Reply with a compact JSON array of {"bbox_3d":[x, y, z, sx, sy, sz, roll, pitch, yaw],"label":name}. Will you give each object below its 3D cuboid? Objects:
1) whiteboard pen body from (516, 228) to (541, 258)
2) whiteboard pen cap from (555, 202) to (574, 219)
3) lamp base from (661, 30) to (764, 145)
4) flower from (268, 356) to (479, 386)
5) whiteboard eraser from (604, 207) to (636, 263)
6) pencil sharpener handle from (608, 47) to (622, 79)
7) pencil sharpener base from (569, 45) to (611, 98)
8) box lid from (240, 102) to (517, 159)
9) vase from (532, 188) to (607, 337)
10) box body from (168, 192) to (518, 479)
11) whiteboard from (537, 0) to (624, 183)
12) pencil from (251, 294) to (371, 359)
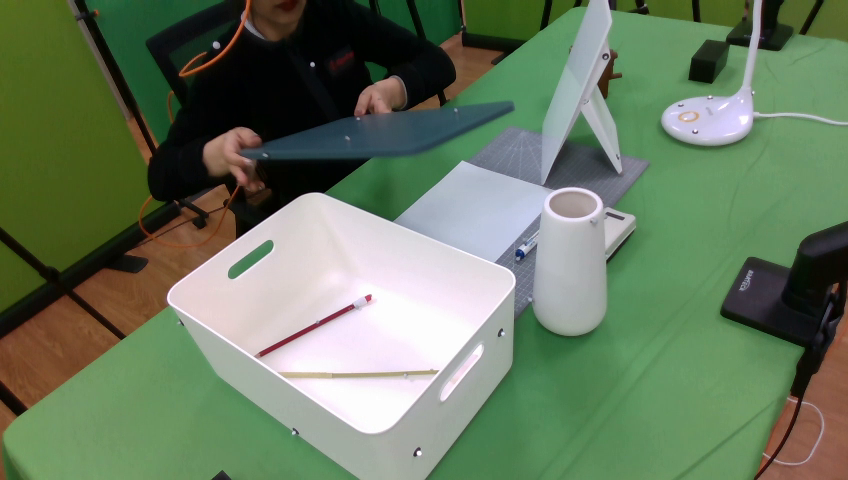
[{"bbox_3d":[0.191,-0.015,0.964,0.017,0.017,0.141,26,51,34],"label":"whiteboard pen body"},{"bbox_3d":[0.230,-0.048,0.994,0.018,0.018,0.033,26,53,34],"label":"whiteboard pen cap"},{"bbox_3d":[0.535,-0.287,1.096,0.179,0.181,0.159,-10,40,-4],"label":"lamp base"},{"bbox_3d":[-0.086,0.173,0.785,0.361,0.038,0.044,-2,46,12],"label":"flower"},{"bbox_3d":[0.273,-0.003,0.919,0.055,0.042,0.113,26,51,33],"label":"whiteboard eraser"},{"bbox_3d":[0.395,-0.369,1.254,0.031,0.068,0.036,-10,32,-1],"label":"pencil sharpener handle"},{"bbox_3d":[0.346,-0.352,1.262,0.077,0.107,0.061,-10,40,-1],"label":"pencil sharpener base"},{"bbox_3d":[-0.075,-0.163,0.910,0.368,0.015,0.264,5,25,38],"label":"box lid"},{"bbox_3d":[0.186,0.033,0.771,0.098,0.201,0.097,-6,41,6],"label":"vase"},{"bbox_3d":[-0.093,0.113,0.757,0.361,0.161,0.255,22,49,32],"label":"box body"},{"bbox_3d":[0.316,-0.256,1.047,0.144,0.306,0.216,15,42,-1],"label":"whiteboard"},{"bbox_3d":[-0.162,0.125,0.865,0.195,0.012,0.012,-27,43,-18],"label":"pencil"}]
